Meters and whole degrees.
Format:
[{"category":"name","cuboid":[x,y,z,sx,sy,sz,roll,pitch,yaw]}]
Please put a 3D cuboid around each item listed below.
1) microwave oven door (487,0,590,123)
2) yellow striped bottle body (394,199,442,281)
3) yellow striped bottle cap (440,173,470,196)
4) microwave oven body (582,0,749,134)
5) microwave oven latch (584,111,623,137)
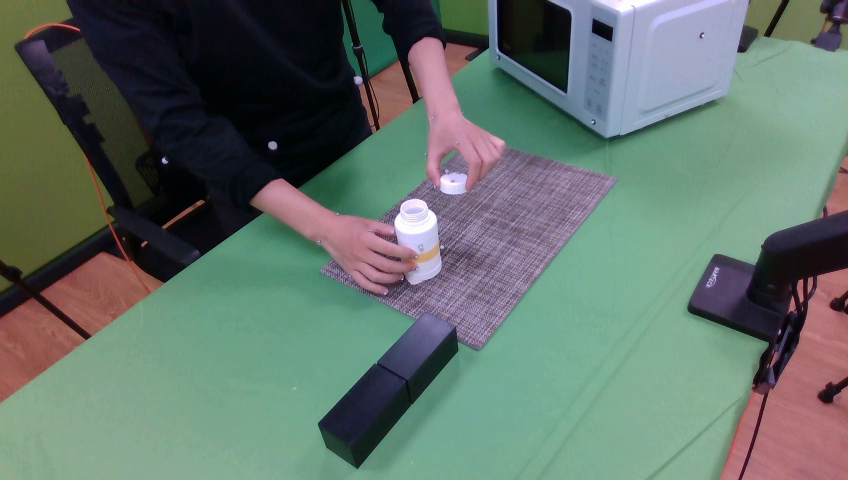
[{"category":"microwave oven door","cuboid":[0.232,-0.420,1.230,0.039,0.245,0.352,-22,43,-16]},{"category":"yellow striped bottle body","cuboid":[-0.009,-0.002,0.891,0.063,0.121,0.062,-4,40,4]},{"category":"yellow striped bottle cap","cuboid":[0.045,-0.082,0.887,0.044,0.019,0.044,0,29,0]},{"category":"microwave oven body","cuboid":[0.382,-0.444,1.246,0.327,0.261,0.437,-22,42,-16]},{"category":"microwave oven latch","cuboid":[0.337,-0.222,1.142,0.030,0.029,0.078,-21,42,-14]}]
